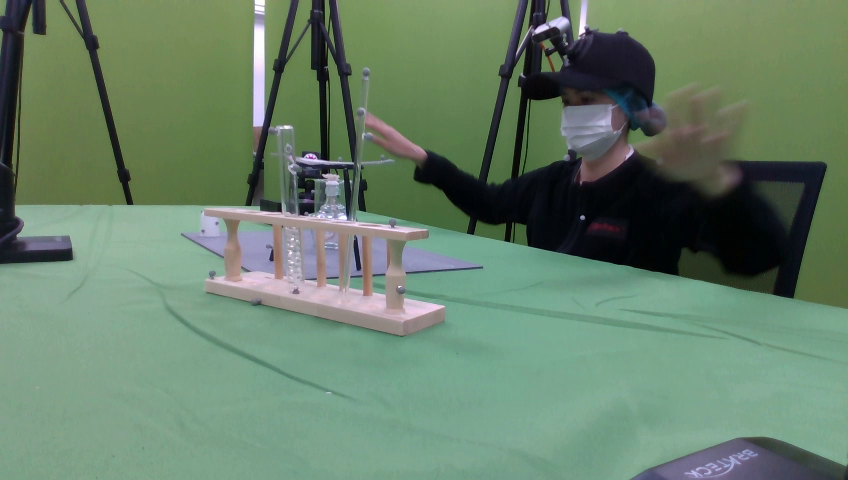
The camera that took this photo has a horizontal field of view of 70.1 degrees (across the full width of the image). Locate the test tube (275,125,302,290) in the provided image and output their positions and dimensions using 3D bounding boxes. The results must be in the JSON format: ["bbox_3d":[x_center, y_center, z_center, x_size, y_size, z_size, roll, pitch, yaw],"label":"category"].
[{"bbox_3d":[-0.123,-0.028,0.552,0.017,0.150,0.017,-2,7,1],"label":"test tube"}]

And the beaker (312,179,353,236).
[{"bbox_3d":[-0.167,-0.060,1.103,0.074,0.100,0.084,1,8,-11],"label":"beaker"}]

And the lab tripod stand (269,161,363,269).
[{"bbox_3d":[-0.125,-0.036,0.794,0.148,0.131,0.148,5,7,0],"label":"lab tripod stand"}]

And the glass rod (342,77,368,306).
[{"bbox_3d":[-0.059,-0.038,0.518,0.008,0.199,0.008,6,8,0],"label":"glass rod"}]

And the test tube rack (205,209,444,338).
[{"bbox_3d":[-0.100,0.021,0.565,0.241,0.085,0.067,7,9,32],"label":"test tube rack"}]

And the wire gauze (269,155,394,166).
[{"bbox_3d":[-0.121,-0.102,0.785,0.122,0.011,0.124,-3,10,-39],"label":"wire gauze"}]

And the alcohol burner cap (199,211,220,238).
[{"bbox_3d":[-0.356,-0.027,1.002,0.034,0.048,0.034,2,7,0],"label":"alcohol burner cap"}]

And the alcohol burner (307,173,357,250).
[{"bbox_3d":[-0.144,-0.045,0.940,0.078,0.119,0.078,1,8,0],"label":"alcohol burner"}]
